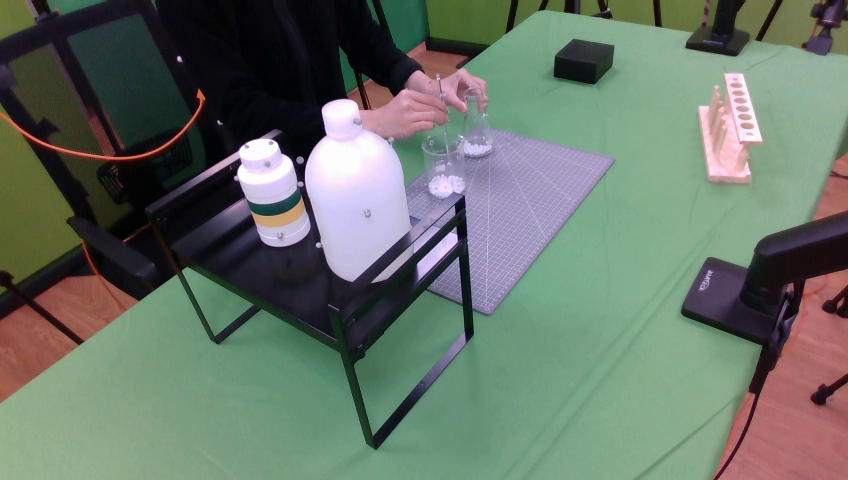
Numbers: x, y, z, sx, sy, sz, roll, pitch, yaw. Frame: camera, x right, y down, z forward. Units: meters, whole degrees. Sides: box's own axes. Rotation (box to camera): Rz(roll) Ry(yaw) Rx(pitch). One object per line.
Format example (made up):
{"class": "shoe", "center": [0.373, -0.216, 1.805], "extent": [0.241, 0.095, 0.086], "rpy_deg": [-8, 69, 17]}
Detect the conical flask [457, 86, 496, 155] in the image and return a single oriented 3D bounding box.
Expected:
{"class": "conical flask", "center": [0.097, -0.226, 1.139], "extent": [0.075, 0.122, 0.075], "rpy_deg": [-4, 43, 4]}

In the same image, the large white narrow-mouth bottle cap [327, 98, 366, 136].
{"class": "large white narrow-mouth bottle cap", "center": [-0.075, -0.118, 0.581], "extent": [0.038, 0.024, 0.037], "rpy_deg": [-3, 40, 3]}

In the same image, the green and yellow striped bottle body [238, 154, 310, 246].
{"class": "green and yellow striped bottle body", "center": [-0.178, -0.056, 0.714], "extent": [0.063, 0.120, 0.063], "rpy_deg": [-4, 40, 4]}

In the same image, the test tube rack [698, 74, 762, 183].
{"class": "test tube rack", "center": [0.547, -0.208, 1.095], "extent": [0.066, 0.085, 0.242], "rpy_deg": [5, 42, 15]}

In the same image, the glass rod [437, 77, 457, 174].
{"class": "glass rod", "center": [0.041, -0.189, 1.031], "extent": [0.008, 0.201, 0.008], "rpy_deg": [-7, 45, 7]}

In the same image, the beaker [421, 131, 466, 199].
{"class": "beaker", "center": [0.040, -0.130, 1.060], "extent": [0.084, 0.100, 0.073], "rpy_deg": [-24, 44, -19]}

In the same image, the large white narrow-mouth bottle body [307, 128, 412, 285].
{"class": "large white narrow-mouth bottle body", "center": [-0.070, -0.051, 0.638], "extent": [0.102, 0.195, 0.101], "rpy_deg": [-3, 40, 3]}

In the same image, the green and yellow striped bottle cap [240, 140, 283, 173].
{"class": "green and yellow striped bottle cap", "center": [-0.183, -0.094, 0.679], "extent": [0.045, 0.020, 0.045], "rpy_deg": [-5, 38, 4]}
